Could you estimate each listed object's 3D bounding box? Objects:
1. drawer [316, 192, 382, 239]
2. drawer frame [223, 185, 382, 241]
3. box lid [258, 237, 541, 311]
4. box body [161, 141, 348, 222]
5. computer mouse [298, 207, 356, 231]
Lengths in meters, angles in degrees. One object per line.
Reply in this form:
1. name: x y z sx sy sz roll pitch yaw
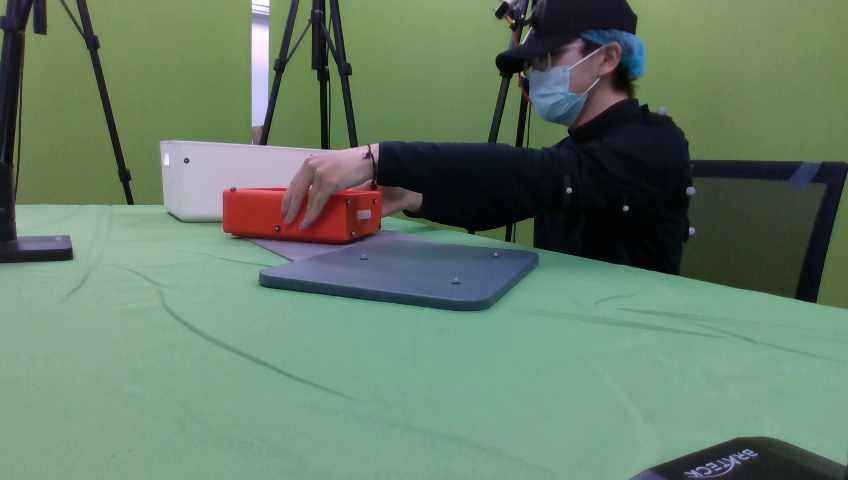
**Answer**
1. drawer: -0.199 -0.049 1.059 0.211 0.073 0.195 2 8 13
2. drawer frame: -0.203 -0.052 1.059 0.213 0.082 0.202 2 7 12
3. box lid: -0.004 0.033 0.773 0.262 0.015 0.372 5 8 19
4. box body: -0.379 -0.132 1.352 0.366 0.160 0.253 -2 8 -30
5. computer mouse: -0.168 -0.036 1.061 0.062 0.041 0.117 1 0 18
